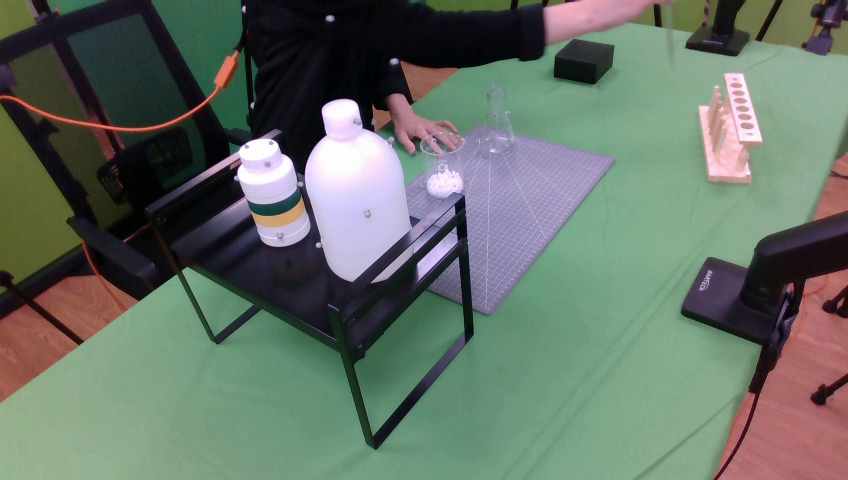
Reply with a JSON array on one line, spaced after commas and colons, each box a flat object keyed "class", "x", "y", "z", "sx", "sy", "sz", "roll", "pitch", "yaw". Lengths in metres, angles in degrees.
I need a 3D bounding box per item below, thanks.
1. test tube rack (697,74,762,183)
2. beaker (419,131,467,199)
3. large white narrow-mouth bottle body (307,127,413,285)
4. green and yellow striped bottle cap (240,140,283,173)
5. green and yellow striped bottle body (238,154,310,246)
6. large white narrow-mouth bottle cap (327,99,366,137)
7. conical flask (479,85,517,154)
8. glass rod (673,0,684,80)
[{"class": "test tube rack", "x": 0.547, "y": -0.208, "z": 1.095, "sx": 0.066, "sy": 0.085, "sz": 0.242, "roll": 5, "pitch": 42, "yaw": 15}, {"class": "beaker", "x": 0.037, "y": -0.130, "z": 1.060, "sx": 0.084, "sy": 0.100, "sz": 0.073, "roll": -14, "pitch": 41, "yaw": -9}, {"class": "large white narrow-mouth bottle body", "x": -0.069, "y": -0.051, "z": 0.638, "sx": 0.102, "sy": 0.195, "sz": 0.101, "roll": -3, "pitch": 40, "yaw": 3}, {"class": "green and yellow striped bottle cap", "x": -0.183, "y": -0.094, "z": 0.679, "sx": 0.045, "sy": 0.020, "sz": 0.045, "roll": -5, "pitch": 38, "yaw": 4}, {"class": "green and yellow striped bottle body", "x": -0.178, "y": -0.056, "z": 0.714, "sx": 0.063, "sy": 0.120, "sz": 0.063, "roll": -4, "pitch": 40, "yaw": 4}, {"class": "large white narrow-mouth bottle cap", "x": -0.075, "y": -0.118, "z": 0.582, "sx": 0.038, "sy": 0.024, "sz": 0.037, "roll": -3, "pitch": 40, "yaw": 3}, {"class": "conical flask", "x": 0.139, "y": -0.230, "z": 1.145, "sx": 0.075, "sy": 0.122, "sz": 0.075, "roll": -4, "pitch": 41, "yaw": 4}, {"class": "glass rod", "x": 0.381, "y": -0.332, "z": 0.907, "sx": 0.008, "sy": 0.201, "sz": 0.008, "roll": -15, "pitch": 35, "yaw": 11}]
